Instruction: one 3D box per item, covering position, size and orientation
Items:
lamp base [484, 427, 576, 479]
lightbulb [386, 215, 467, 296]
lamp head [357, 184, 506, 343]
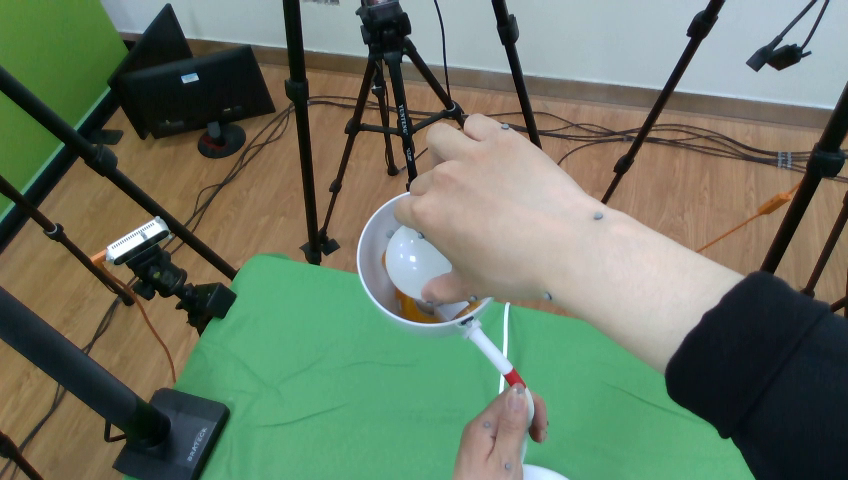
[{"bbox_3d":[0.114,0.284,0.646,0.161,0.182,0.177,-22,53,-10],"label":"lamp base"},{"bbox_3d":[0.003,0.019,0.466,0.059,0.108,0.059,-1,70,3],"label":"lightbulb"},{"bbox_3d":[0.010,0.032,0.495,0.112,0.124,0.111,-2,63,5],"label":"lamp head"}]
